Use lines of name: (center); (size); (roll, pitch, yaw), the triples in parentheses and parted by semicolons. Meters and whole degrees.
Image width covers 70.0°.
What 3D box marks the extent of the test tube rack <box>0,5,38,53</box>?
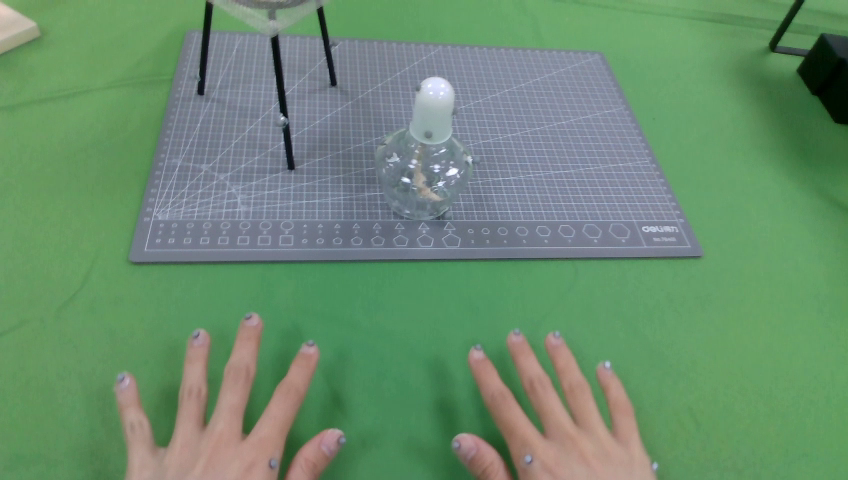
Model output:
test tube rack: (-0.457, -0.166, 0.486); (0.066, 0.086, 0.241); (30, 52, 15)

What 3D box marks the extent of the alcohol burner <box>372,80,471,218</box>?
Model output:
alcohol burner: (0.000, -0.074, 0.465); (0.078, 0.120, 0.077); (6, 49, -6)

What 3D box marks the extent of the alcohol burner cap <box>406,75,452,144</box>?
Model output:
alcohol burner cap: (0.005, -0.096, 0.437); (0.034, 0.048, 0.033); (3, 55, -4)

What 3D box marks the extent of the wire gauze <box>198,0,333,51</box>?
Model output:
wire gauze: (-0.121, -0.199, 0.450); (0.124, 0.011, 0.121); (33, 55, 12)

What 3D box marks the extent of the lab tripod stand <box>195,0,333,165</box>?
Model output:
lab tripod stand: (-0.127, -0.157, 0.500); (0.149, 0.132, 0.147); (6, 50, -7)
